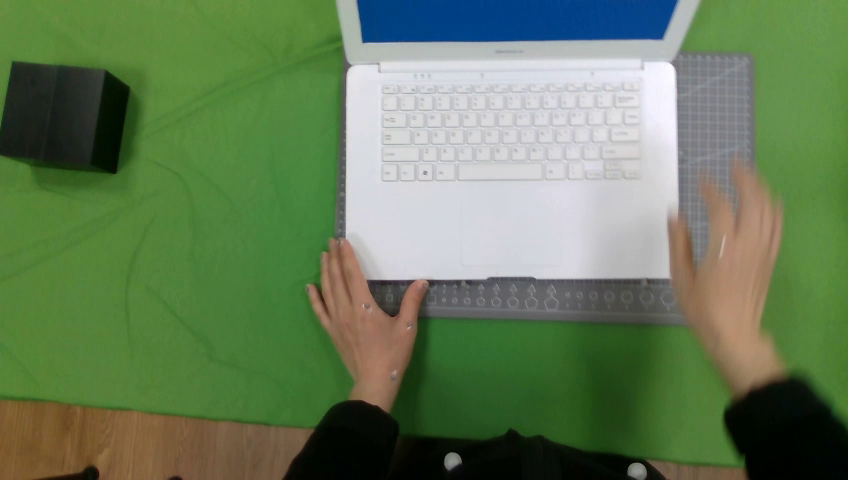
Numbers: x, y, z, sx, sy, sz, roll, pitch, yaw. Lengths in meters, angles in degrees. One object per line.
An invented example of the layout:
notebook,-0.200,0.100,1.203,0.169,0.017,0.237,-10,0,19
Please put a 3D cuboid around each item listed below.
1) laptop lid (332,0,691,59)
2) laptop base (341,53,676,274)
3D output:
laptop lid,0.084,-0.257,0.557,0.357,0.244,0.013,-1,60,2
laptop base,0.089,-0.082,0.651,0.354,0.023,0.235,-1,89,1
